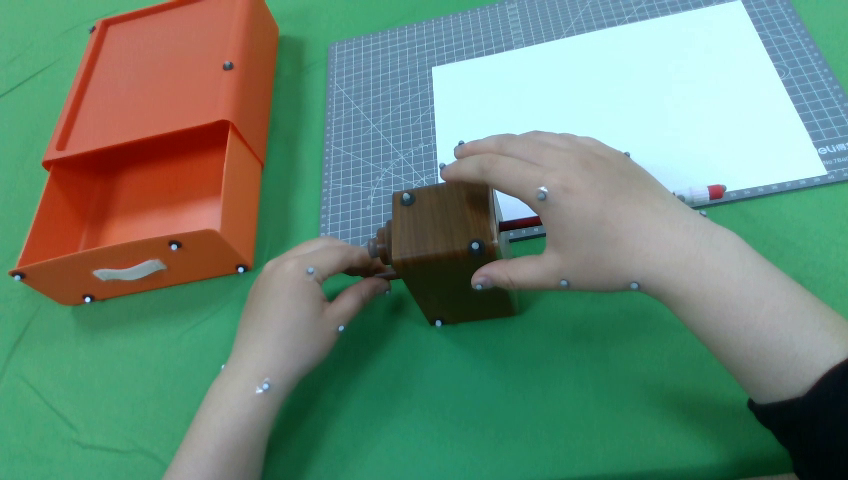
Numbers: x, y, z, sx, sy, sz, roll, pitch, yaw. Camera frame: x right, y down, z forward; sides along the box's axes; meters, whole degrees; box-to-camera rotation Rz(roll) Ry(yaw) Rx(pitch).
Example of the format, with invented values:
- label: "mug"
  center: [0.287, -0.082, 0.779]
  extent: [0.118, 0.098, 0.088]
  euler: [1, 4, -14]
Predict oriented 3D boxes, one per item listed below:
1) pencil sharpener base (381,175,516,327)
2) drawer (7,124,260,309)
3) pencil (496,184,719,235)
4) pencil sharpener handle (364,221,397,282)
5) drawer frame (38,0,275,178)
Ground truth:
- label: "pencil sharpener base"
  center: [0.020, 0.013, 0.436]
  extent: [0.076, 0.108, 0.061]
  euler: [-10, 56, 11]
- label: "drawer"
  center: [-0.259, -0.053, 0.576]
  extent: [0.194, 0.074, 0.209]
  euler: [-12, 56, 10]
- label: "pencil"
  center: [0.091, -0.014, 0.398]
  extent: [0.194, 0.012, 0.012]
  euler: [-10, 56, 11]
- label: "pencil sharpener handle"
  center: [-0.033, 0.014, 0.436]
  extent: [0.030, 0.068, 0.035]
  euler: [-10, 63, 12]
- label: "drawer frame"
  center: [-0.269, -0.152, 0.639]
  extent: [0.201, 0.083, 0.211]
  euler: [-11, 56, 10]
